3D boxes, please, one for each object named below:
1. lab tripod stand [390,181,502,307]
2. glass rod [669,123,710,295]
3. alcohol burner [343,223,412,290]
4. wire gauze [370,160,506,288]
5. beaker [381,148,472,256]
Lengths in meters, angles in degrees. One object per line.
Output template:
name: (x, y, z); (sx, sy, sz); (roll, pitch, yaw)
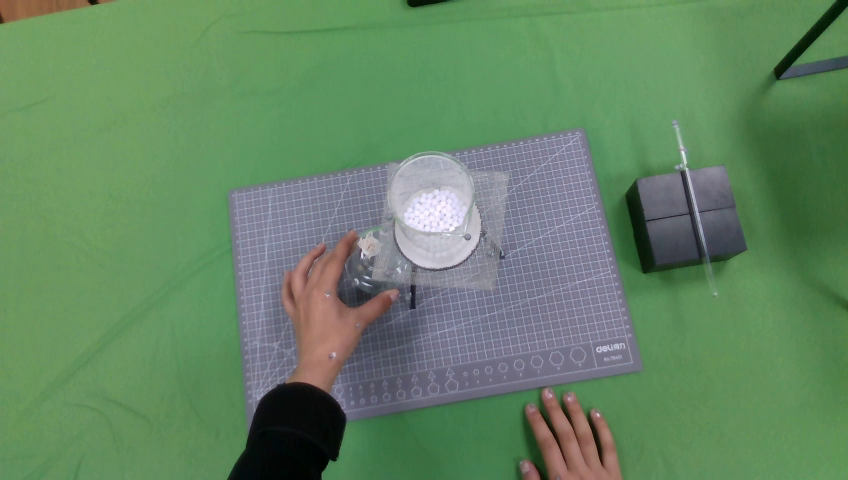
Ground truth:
lab tripod stand: (0.012, -0.002, 0.659); (0.148, 0.132, 0.147); (-1, 76, 5)
glass rod: (0.293, -0.038, 0.670); (0.008, 0.008, 0.198); (-6, 77, 2)
alcohol burner: (-0.053, 0.015, 0.665); (0.078, 0.119, 0.077); (0, 77, 1)
wire gauze: (0.014, -0.017, 0.594); (0.121, 0.011, 0.124); (7, 75, 4)
beaker: (0.008, -0.027, 0.547); (0.074, 0.101, 0.083); (-37, 77, -5)
